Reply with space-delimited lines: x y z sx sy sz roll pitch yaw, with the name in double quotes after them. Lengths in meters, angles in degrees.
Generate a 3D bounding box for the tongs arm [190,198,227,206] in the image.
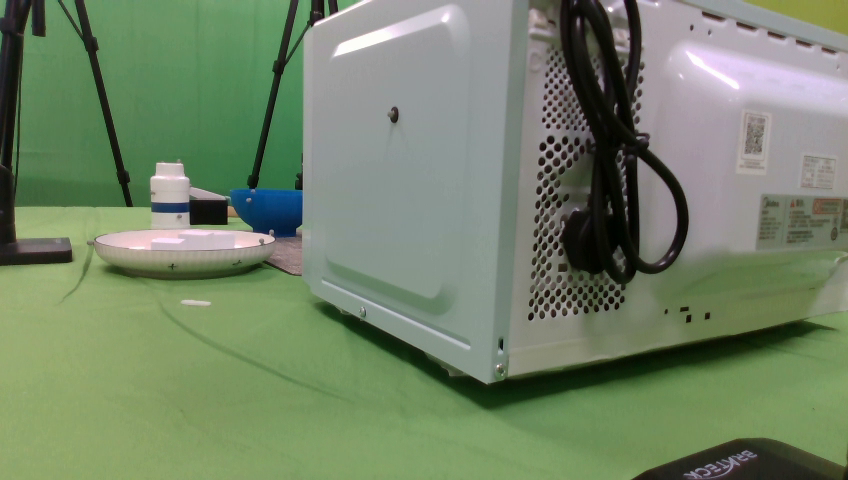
-0.406 -0.082 1.478 0.385 0.026 0.050 2 9 -2 "tongs arm"

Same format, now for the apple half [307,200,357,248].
-0.135 -0.024 0.941 0.053 0.074 0.081 13 9 39 "apple half"

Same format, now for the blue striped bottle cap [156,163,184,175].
-0.439 -0.122 1.045 0.044 0.020 0.044 6 8 -1 "blue striped bottle cap"

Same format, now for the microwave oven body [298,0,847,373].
0.151 -0.055 0.542 0.444 0.260 0.324 -2 7 -33 "microwave oven body"

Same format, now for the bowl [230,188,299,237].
-0.264 -0.048 1.065 0.151 0.077 0.151 3 8 0 "bowl"

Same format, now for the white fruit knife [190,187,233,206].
-0.413 -0.081 1.270 0.208 0.027 0.016 17 13 -41 "white fruit knife"

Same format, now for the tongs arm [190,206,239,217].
-0.398 -0.066 1.399 0.389 0.028 0.028 0 6 -14 "tongs arm"

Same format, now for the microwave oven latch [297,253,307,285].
-0.081 0.027 0.582 0.079 0.029 0.030 -1 7 -32 "microwave oven latch"

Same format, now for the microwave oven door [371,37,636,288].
0.109 -0.080 0.686 0.358 0.243 0.039 -2 9 -33 "microwave oven door"

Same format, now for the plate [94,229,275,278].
-0.291 0.016 0.750 0.208 0.039 0.207 2 7 0 "plate"

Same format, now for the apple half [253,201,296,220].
-0.264 -0.053 1.066 0.081 0.033 0.081 1 8 0 "apple half"

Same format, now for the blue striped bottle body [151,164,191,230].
-0.439 -0.071 1.052 0.063 0.120 0.063 2 7 0 "blue striped bottle body"
